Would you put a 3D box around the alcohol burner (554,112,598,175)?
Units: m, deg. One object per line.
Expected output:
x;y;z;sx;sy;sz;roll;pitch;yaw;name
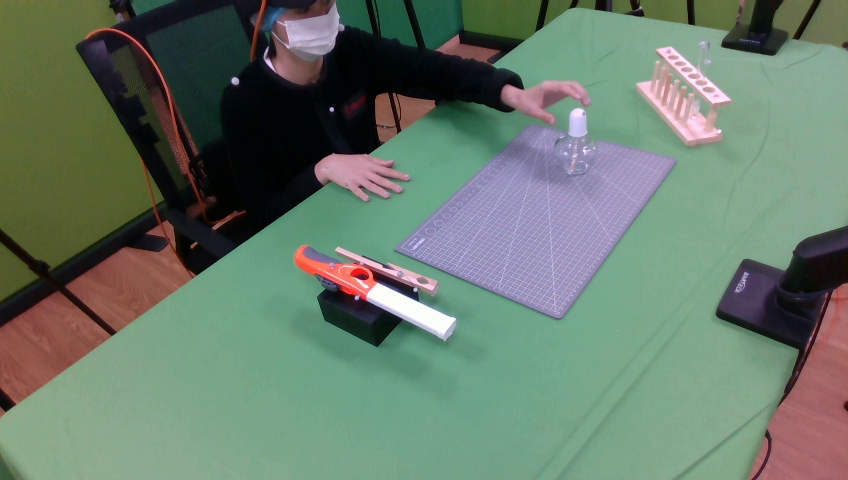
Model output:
0.270;-0.175;1.066;0.078;0.119;0.077;-4;42;4;alcohol burner

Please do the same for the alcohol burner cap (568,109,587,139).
0.266;-0.203;1.044;0.034;0.048;0.033;-6;37;5;alcohol burner cap

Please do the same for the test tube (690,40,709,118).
0.510;-0.295;1.120;0.017;0.151;0.017;-6;39;6;test tube

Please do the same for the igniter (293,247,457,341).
-0.077;0.068;0.831;0.274;0.025;0.057;22;48;27;igniter

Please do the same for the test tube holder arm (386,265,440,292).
-0.018;0.055;0.843;0.087;0.015;0.010;18;46;26;test tube holder arm

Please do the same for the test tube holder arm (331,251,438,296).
-0.060;0.046;0.859;0.177;0.015;0.013;16;45;24;test tube holder arm

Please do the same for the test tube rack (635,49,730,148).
0.497;-0.283;1.185;0.067;0.085;0.240;-10;40;-2;test tube rack
